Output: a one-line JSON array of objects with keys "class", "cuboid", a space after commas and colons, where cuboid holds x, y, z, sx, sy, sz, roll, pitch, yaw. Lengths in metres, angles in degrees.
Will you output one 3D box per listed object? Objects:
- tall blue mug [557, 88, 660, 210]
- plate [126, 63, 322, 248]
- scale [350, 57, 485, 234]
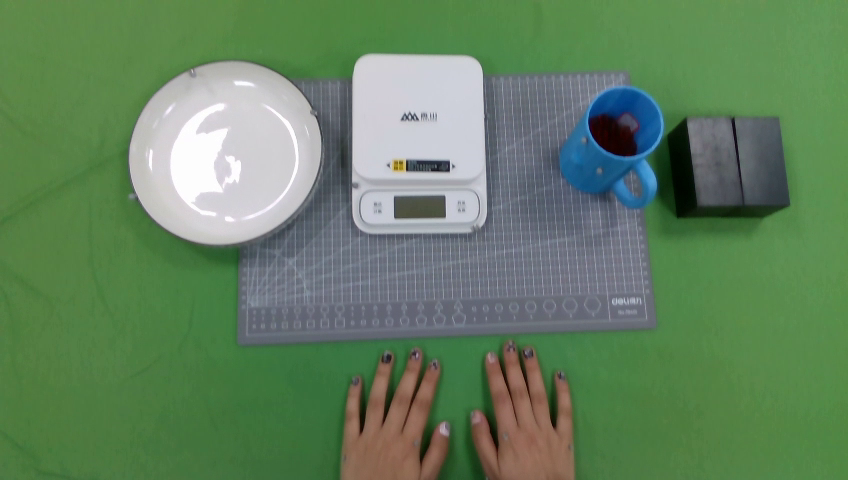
[{"class": "tall blue mug", "cuboid": [0.203, -0.092, 0.639, 0.107, 0.108, 0.077, 34, 79, 5]}, {"class": "plate", "cuboid": [-0.213, -0.091, 0.662, 0.209, 0.038, 0.208, 0, 79, 0]}, {"class": "scale", "cuboid": [-0.008, -0.107, 0.675, 0.149, 0.031, 0.200, 0, 79, -1]}]
